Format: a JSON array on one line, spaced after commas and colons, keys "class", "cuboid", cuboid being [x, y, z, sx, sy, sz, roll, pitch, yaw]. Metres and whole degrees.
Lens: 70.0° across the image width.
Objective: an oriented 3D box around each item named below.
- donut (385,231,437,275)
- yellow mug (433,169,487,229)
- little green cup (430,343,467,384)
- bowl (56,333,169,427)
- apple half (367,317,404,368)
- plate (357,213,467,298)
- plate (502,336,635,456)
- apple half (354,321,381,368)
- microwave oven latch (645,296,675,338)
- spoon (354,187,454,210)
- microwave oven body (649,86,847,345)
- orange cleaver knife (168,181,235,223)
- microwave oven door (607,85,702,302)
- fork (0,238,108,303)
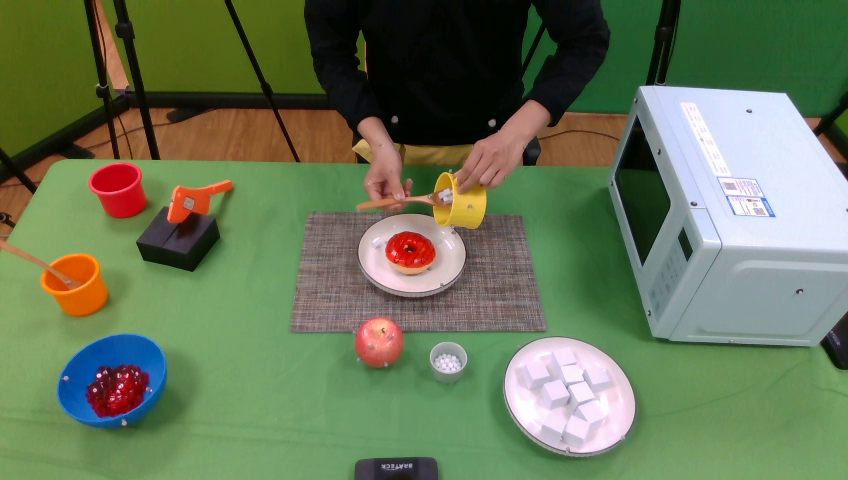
[{"class": "donut", "cuboid": [-0.024, 0.024, 1.141, 0.099, 0.048, 0.098, 3, 44, -3]}, {"class": "yellow mug", "cuboid": [0.068, -0.082, 1.087, 0.064, 0.131, 0.099, 4, 52, -21]}, {"class": "little green cup", "cuboid": [0.039, 0.203, 0.994, 0.061, 0.039, 0.061, 2, 46, -2]}, {"class": "bowl", "cuboid": [-0.456, 0.223, 0.911, 0.151, 0.077, 0.150, 3, 45, -2]}, {"class": "apple half", "cuboid": [-0.061, 0.167, 0.998, 0.053, 0.075, 0.080, -11, 44, -20]}, {"class": "plate", "cuboid": [-0.023, 0.032, 1.150, 0.209, 0.038, 0.208, 2, 46, -2]}, {"class": "plate", "cuboid": [0.225, 0.248, 0.963, 0.208, 0.039, 0.206, 2, 46, -2]}, {"class": "apple half", "cuboid": [-0.097, 0.176, 0.985, 0.033, 0.081, 0.080, -12, 48, -20]}, {"class": "microwave oven latch", "cuboid": [0.412, 0.134, 1.061, 0.030, 0.029, 0.078, 3, 45, 0]}, {"class": "spoon", "cuboid": [-0.028, -0.071, 1.077, 0.194, 0.022, 0.041, -5, 61, -16]}, {"class": "microwave oven body", "cuboid": [0.568, -0.053, 1.118, 0.326, 0.261, 0.439, 2, 45, -1]}, {"class": "orange cleaver knife", "cuboid": [-0.436, -0.078, 1.196, 0.012, 0.077, 0.211, 16, 15, 10]}, {"class": "microwave oven door", "cuboid": [0.423, -0.094, 1.140, 0.039, 0.245, 0.353, 2, 46, -1]}, {"class": "fork", "cuboid": [-0.633, 0.048, 1.017, 0.208, 0.018, 0.028, 40, 41, -27]}]
